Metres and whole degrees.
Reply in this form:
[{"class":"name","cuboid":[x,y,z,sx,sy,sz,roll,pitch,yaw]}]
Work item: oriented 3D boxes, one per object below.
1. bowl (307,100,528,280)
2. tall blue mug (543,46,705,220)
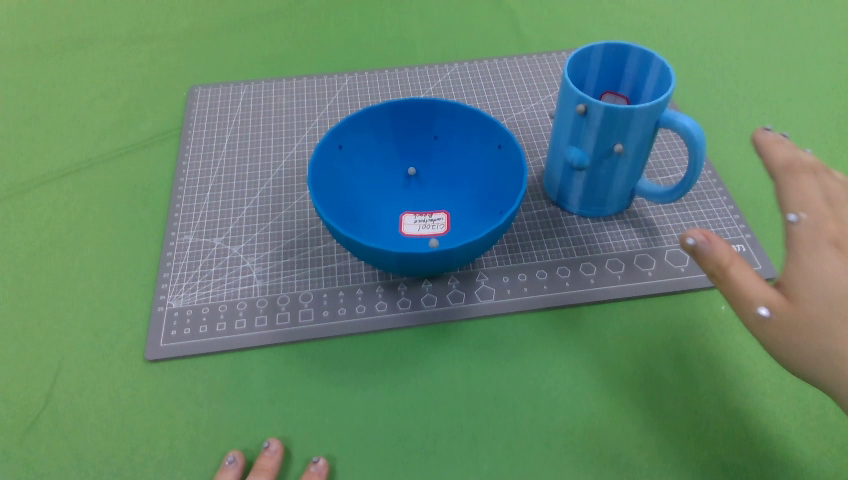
[{"class":"bowl","cuboid":[-0.004,-0.024,0.439,0.151,0.077,0.150,0,51,1]},{"class":"tall blue mug","cuboid":[0.150,-0.076,0.458,0.107,0.109,0.077,8,51,8]}]
